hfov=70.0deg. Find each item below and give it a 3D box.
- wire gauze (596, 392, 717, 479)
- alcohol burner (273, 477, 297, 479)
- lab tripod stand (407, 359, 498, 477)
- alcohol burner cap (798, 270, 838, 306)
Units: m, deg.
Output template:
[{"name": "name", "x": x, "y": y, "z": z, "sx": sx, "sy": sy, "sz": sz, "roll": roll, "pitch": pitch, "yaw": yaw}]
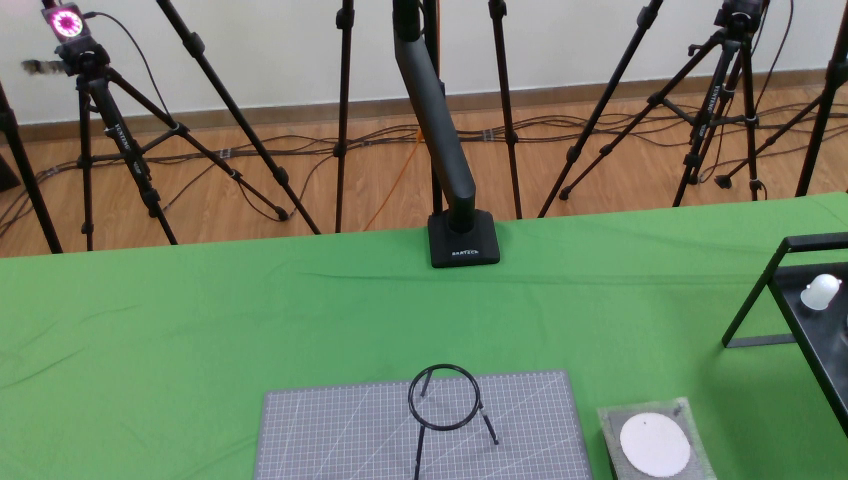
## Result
[{"name": "wire gauze", "x": 0.297, "y": 0.258, "z": 0.779, "sx": 0.125, "sy": 0.011, "sz": 0.120, "roll": -4, "pitch": 52, "yaw": -1}, {"name": "alcohol burner", "x": -0.176, "y": 0.321, "z": 0.732, "sx": 0.078, "sy": 0.120, "sz": 0.077, "roll": 0, "pitch": 51, "yaw": 1}, {"name": "lab tripod stand", "x": 0.024, "y": 0.225, "z": 0.795, "sx": 0.148, "sy": 0.133, "sz": 0.147, "roll": -2, "pitch": 49, "yaw": 3}, {"name": "alcohol burner cap", "x": 0.491, "y": 0.056, "z": 0.749, "sx": 0.034, "sy": 0.048, "sz": 0.033, "roll": -1, "pitch": 52, "yaw": 2}]
